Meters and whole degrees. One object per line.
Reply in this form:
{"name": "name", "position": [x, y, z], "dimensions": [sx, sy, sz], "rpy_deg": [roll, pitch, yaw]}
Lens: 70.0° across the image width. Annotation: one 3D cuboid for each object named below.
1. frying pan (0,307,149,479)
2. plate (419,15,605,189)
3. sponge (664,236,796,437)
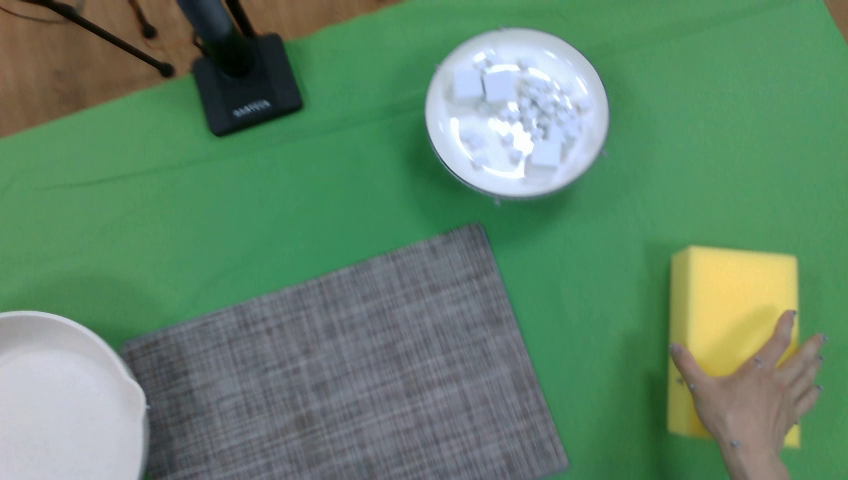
{"name": "frying pan", "position": [-0.401, 0.311, 0.631], "dimensions": [0.307, 0.103, 0.484], "rpy_deg": [-21, 72, -1]}
{"name": "plate", "position": [0.098, -0.154, 0.692], "dimensions": [0.208, 0.039, 0.206], "rpy_deg": [0, 79, 0]}
{"name": "sponge", "position": [0.337, 0.106, 0.675], "dimensions": [0.118, 0.061, 0.206], "rpy_deg": [4, 79, 2]}
